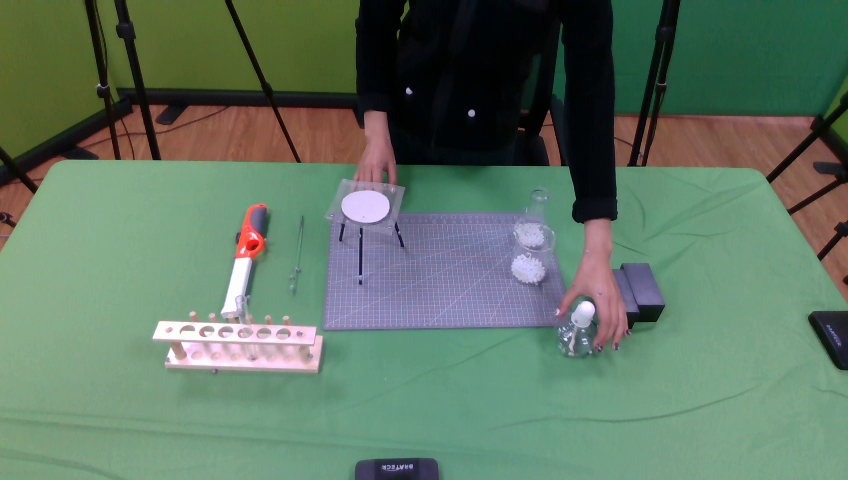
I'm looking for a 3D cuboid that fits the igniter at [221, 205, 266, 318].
[{"bbox_3d":[-0.338,0.030,1.140,0.057,0.025,0.274,-5,46,3],"label":"igniter"}]

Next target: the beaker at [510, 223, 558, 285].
[{"bbox_3d":[0.199,0.027,1.132,0.083,0.101,0.074,26,50,21],"label":"beaker"}]

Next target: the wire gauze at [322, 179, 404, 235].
[{"bbox_3d":[-0.106,-0.064,1.078,0.125,0.011,0.121,11,45,5],"label":"wire gauze"}]

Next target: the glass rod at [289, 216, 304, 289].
[{"bbox_3d":[-0.246,0.020,1.171,0.008,0.008,0.198,1,43,-3],"label":"glass rod"}]

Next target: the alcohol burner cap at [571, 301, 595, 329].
[{"bbox_3d":[0.262,0.120,0.991,0.034,0.048,0.033,1,52,-1],"label":"alcohol burner cap"}]

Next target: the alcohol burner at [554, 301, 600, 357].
[{"bbox_3d":[0.260,0.143,1.018,0.078,0.119,0.077,2,45,-2],"label":"alcohol burner"}]

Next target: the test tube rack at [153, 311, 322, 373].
[{"bbox_3d":[-0.293,0.160,0.977,0.242,0.085,0.066,3,46,-2],"label":"test tube rack"}]

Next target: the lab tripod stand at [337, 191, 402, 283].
[{"bbox_3d":[-0.106,-0.016,1.125,0.148,0.132,0.147,3,44,-2],"label":"lab tripod stand"}]

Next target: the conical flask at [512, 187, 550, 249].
[{"bbox_3d":[0.217,-0.048,1.190,0.075,0.122,0.075,2,46,-2],"label":"conical flask"}]

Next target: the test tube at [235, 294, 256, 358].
[{"bbox_3d":[-0.274,0.136,0.933,0.017,0.151,0.017,4,45,-4],"label":"test tube"}]
